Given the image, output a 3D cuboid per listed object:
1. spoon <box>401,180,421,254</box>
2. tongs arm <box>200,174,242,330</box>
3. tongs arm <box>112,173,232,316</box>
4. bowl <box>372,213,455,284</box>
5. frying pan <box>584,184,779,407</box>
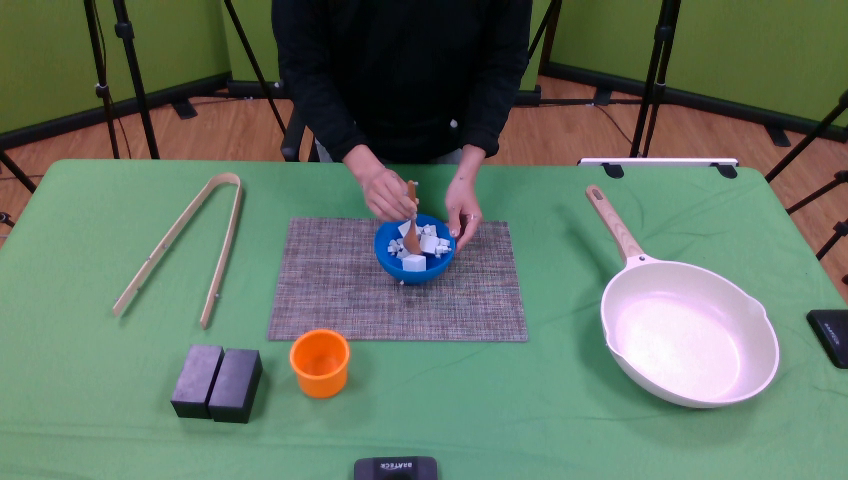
[{"bbox_3d":[-0.024,-0.037,1.058,0.041,0.195,0.021,26,53,21],"label":"spoon"},{"bbox_3d":[-0.387,0.008,1.158,0.028,0.028,0.385,-1,46,-3],"label":"tongs arm"},{"bbox_3d":[-0.467,-0.005,1.157,0.051,0.026,0.382,11,45,4],"label":"tongs arm"},{"bbox_3d":[-0.021,0.028,1.124,0.151,0.077,0.150,2,46,-2],"label":"bowl"},{"bbox_3d":[0.412,0.079,1.097,0.307,0.103,0.484,-10,56,-15],"label":"frying pan"}]
